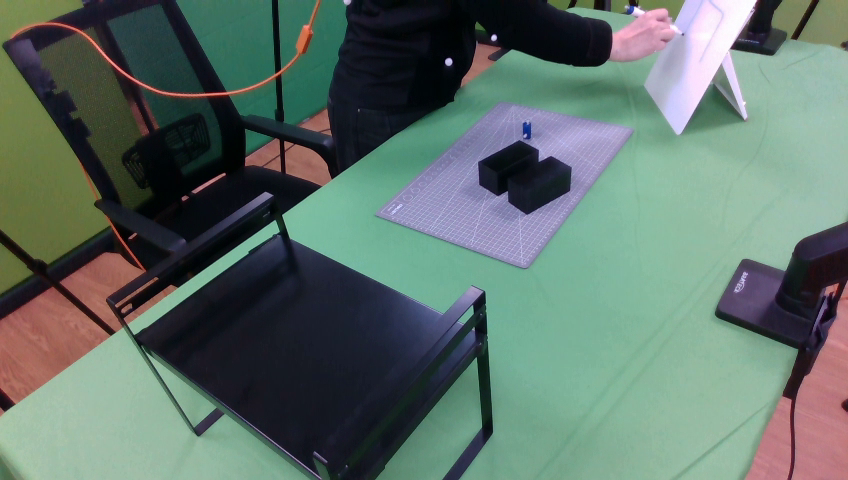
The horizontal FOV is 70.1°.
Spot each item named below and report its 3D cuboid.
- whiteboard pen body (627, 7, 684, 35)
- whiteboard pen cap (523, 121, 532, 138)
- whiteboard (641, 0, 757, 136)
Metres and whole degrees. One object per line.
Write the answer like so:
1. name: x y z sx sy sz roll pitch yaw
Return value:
1. whiteboard pen body: 0.444 -0.415 1.152 0.142 0.017 0.017 12 35 -24
2. whiteboard pen cap: 0.204 -0.216 1.185 0.018 0.033 0.018 -7 41 6
3. whiteboard: 0.576 -0.367 1.147 0.144 0.306 0.216 9 39 -9
